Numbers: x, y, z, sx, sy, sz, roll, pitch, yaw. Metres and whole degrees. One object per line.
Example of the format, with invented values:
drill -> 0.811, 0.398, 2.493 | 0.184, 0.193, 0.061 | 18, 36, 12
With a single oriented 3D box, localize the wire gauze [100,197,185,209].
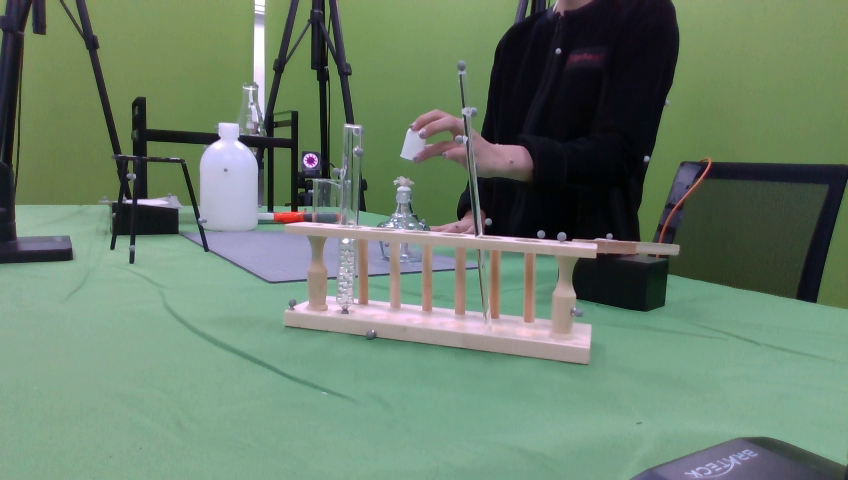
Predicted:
wire gauze -> -0.469, -0.062, 1.008 | 0.126, 0.011, 0.121 | -2, 8, -25

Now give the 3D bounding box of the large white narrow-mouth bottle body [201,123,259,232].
large white narrow-mouth bottle body -> -0.358, -0.116, 1.116 | 0.102, 0.194, 0.102 | 2, 8, 0

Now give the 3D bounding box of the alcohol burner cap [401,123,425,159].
alcohol burner cap -> -0.013, -0.131, 0.805 | 0.034, 0.048, 0.034 | 6, 10, -1

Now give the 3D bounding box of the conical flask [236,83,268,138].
conical flask -> -0.400, -0.298, 1.396 | 0.075, 0.122, 0.075 | 2, 8, 0

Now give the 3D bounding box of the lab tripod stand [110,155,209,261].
lab tripod stand -> -0.361, -0.046, 0.806 | 0.148, 0.131, 0.148 | 2, 5, 0

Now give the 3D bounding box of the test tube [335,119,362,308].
test tube -> -0.060, -0.019, 0.475 | 0.017, 0.150, 0.017 | 4, 11, 0

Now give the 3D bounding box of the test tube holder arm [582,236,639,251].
test tube holder arm -> 0.194, 0.004, 0.629 | 0.088, 0.015, 0.010 | 2, 13, -38

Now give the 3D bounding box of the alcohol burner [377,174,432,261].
alcohol burner -> -0.027, -0.031, 0.838 | 0.078, 0.119, 0.078 | 0, 6, 0

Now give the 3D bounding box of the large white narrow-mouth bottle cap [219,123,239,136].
large white narrow-mouth bottle cap -> -0.356, -0.201, 1.104 | 0.038, 0.024, 0.037 | 2, 8, 0

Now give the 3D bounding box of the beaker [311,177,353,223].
beaker -> -0.167, -0.064, 1.106 | 0.074, 0.100, 0.083 | -2, 9, -27

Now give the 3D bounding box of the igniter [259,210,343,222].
igniter -> -0.303, -0.049, 1.258 | 0.278, 0.025, 0.057 | -2, -2, -28

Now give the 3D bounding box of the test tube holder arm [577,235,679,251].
test tube holder arm -> 0.227, 0.004, 0.661 | 0.179, 0.015, 0.013 | 1, 13, -39

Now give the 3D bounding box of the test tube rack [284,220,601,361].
test tube rack -> 0.013, 0.032, 0.482 | 0.242, 0.085, 0.067 | 4, 7, 16

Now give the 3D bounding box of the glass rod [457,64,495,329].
glass rod -> 0.040, -0.029, 0.449 | 0.008, 0.199, 0.008 | -7, 9, 1
